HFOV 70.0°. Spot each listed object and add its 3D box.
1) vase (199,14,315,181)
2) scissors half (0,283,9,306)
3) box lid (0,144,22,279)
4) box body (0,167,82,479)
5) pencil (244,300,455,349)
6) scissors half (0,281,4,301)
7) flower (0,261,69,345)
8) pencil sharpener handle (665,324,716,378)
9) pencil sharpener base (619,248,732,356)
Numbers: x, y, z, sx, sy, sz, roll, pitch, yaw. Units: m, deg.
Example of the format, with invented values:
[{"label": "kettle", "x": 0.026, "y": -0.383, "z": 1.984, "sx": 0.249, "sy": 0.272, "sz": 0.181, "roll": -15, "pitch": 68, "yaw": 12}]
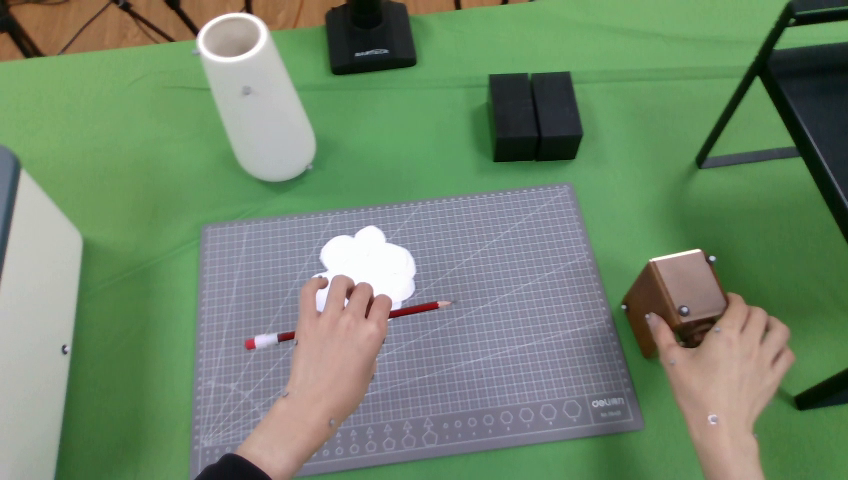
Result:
[{"label": "vase", "x": -0.186, "y": -0.154, "z": 0.684, "sx": 0.098, "sy": 0.201, "sz": 0.097, "roll": -1, "pitch": 61, "yaw": 2}, {"label": "scissors half", "x": -0.538, "y": 0.092, "z": 0.646, "sx": 0.175, "sy": 0.040, "sz": 0.012, "roll": -32, "pitch": 34, "yaw": -17}, {"label": "box lid", "x": -0.493, "y": 0.076, "z": 0.498, "sx": 0.263, "sy": 0.015, "sz": 0.368, "roll": -7, "pitch": 62, "yaw": -5}, {"label": "box body", "x": -0.491, "y": 0.115, "z": 0.564, "sx": 0.254, "sy": 0.161, "sz": 0.360, "roll": -8, "pitch": 62, "yaw": -4}, {"label": "pencil", "x": -0.066, "y": 0.075, "z": 0.551, "sx": 0.194, "sy": 0.012, "sz": 0.012, "roll": -11, "pitch": 62, "yaw": -7}, {"label": "scissors half", "x": -0.532, "y": 0.103, "z": 0.653, "sx": 0.175, "sy": 0.040, "sz": 0.012, "roll": -39, "pitch": 30, "yaw": -11}, {"label": "flower", "x": -0.489, "y": 0.150, "z": 0.640, "sx": 0.038, "sy": 0.044, "sz": 0.359, "roll": -16, "pitch": 36, "yaw": 29}, {"label": "pencil sharpener handle", "x": 0.256, "y": 0.107, "z": 0.577, "sx": 0.036, "sy": 0.068, "sz": 0.030, "roll": -4, "pitch": 61, "yaw": -18}, {"label": "pencil sharpener base", "x": 0.250, "y": 0.068, "z": 0.612, "sx": 0.061, "sy": 0.108, "sz": 0.076, "roll": -11, "pitch": 62, "yaw": -5}]
